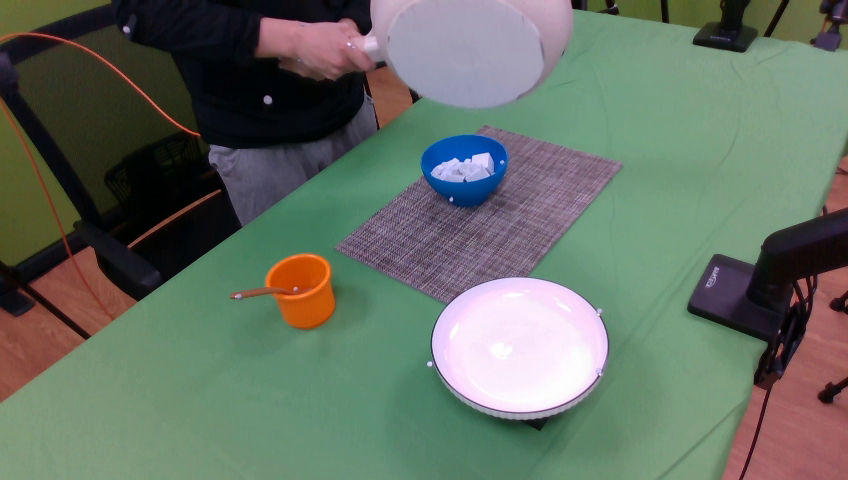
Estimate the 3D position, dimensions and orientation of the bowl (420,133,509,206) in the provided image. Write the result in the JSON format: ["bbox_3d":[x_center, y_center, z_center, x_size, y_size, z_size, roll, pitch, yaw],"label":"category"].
[{"bbox_3d":[0.071,-0.112,1.038,0.151,0.077,0.150,-4,40,4],"label":"bowl"}]

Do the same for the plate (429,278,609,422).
[{"bbox_3d":[0.111,0.129,0.716,0.207,0.039,0.206,-5,39,4],"label":"plate"}]

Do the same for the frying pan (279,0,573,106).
[{"bbox_3d":[-0.026,-0.297,0.917,0.484,0.309,0.102,5,67,29],"label":"frying pan"}]

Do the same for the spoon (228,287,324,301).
[{"bbox_3d":[-0.197,0.071,0.816,0.041,0.195,0.021,12,88,23],"label":"spoon"}]
